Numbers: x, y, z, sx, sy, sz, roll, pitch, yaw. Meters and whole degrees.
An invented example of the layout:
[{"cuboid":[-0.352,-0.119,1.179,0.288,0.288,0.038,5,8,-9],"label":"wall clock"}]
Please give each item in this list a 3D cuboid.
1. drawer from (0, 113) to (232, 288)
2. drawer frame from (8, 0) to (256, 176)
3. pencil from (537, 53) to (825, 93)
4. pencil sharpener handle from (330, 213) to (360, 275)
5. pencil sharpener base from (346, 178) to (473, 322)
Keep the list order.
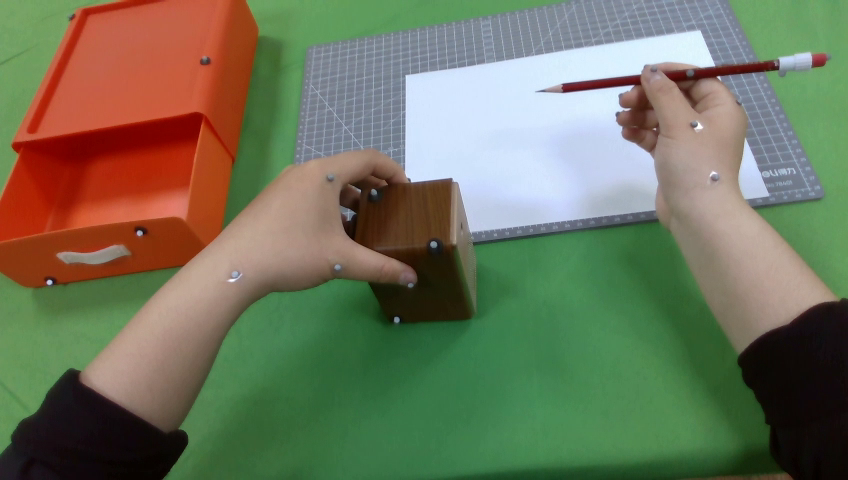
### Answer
[{"cuboid":[-0.290,-0.068,0.583,0.194,0.074,0.209,-9,55,7],"label":"drawer"},{"cuboid":[-0.297,-0.166,0.646,0.201,0.083,0.211,-8,55,7],"label":"drawer frame"},{"cuboid":[0.179,-0.120,0.441,0.193,0.012,0.012,-2,56,19],"label":"pencil"},{"cuboid":[-0.060,0.008,0.447,0.030,0.068,0.035,-4,59,10],"label":"pencil sharpener handle"},{"cuboid":[-0.007,0.012,0.448,0.076,0.108,0.061,-4,56,10],"label":"pencil sharpener base"}]
